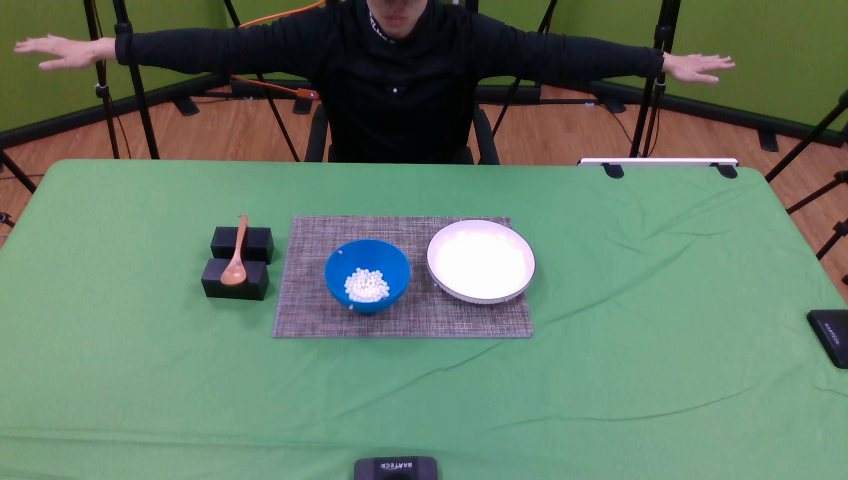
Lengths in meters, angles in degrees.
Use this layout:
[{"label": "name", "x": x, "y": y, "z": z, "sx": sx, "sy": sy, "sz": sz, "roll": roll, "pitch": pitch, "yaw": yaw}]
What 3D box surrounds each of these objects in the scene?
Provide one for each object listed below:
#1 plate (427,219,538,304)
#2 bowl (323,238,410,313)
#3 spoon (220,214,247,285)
[{"label": "plate", "x": 0.109, "y": 0.044, "z": 1.149, "sx": 0.208, "sy": 0.039, "sz": 0.206, "roll": 2, "pitch": 46, "yaw": -2}, {"label": "bowl", "x": -0.101, "y": 0.077, "z": 1.073, "sx": 0.151, "sy": 0.077, "sz": 0.150, "roll": 2, "pitch": 46, "yaw": -2}, {"label": "spoon", "x": -0.334, "y": 0.014, "z": 1.093, "sx": 0.041, "sy": 0.022, "sz": 0.192, "roll": -1, "pitch": 45, "yaw": -6}]
